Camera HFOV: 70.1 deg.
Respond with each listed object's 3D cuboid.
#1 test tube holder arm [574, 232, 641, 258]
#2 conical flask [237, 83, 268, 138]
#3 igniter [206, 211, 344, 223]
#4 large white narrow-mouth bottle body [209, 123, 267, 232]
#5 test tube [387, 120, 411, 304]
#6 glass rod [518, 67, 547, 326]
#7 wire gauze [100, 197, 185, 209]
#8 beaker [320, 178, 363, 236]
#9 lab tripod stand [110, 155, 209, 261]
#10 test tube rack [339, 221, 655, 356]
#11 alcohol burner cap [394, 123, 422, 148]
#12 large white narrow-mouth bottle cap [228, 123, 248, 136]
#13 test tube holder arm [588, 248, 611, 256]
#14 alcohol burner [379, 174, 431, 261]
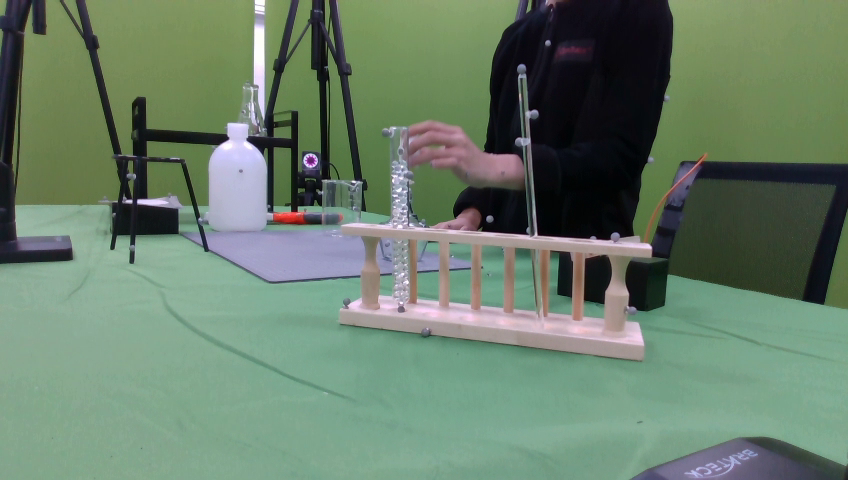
[{"bbox_3d":[0.202,0.003,0.651,0.013,0.015,0.179,-4,2,36],"label":"test tube holder arm"},{"bbox_3d":[-0.402,-0.299,1.406,0.075,0.122,0.075,2,7,0],"label":"conical flask"},{"bbox_3d":[-0.302,-0.048,1.250,0.278,0.025,0.057,-2,-2,-26],"label":"igniter"},{"bbox_3d":[-0.340,-0.115,1.109,0.102,0.194,0.102,2,8,0],"label":"large white narrow-mouth bottle body"},{"bbox_3d":[-0.019,-0.021,0.488,0.017,0.150,0.017,-1,13,1],"label":"test tube"},{"bbox_3d":[0.084,-0.029,0.459,0.008,0.199,0.008,-6,11,2],"label":"glass rod"},{"bbox_3d":[-0.469,-0.062,1.008,0.126,0.011,0.121,-2,8,-25],"label":"wire gauze"},{"bbox_3d":[-0.145,-0.059,1.079,0.074,0.100,0.083,-4,10,-36],"label":"beaker"},{"bbox_3d":[-0.361,-0.046,0.806,0.148,0.131,0.148,2,5,0],"label":"lab tripod stand"},{"bbox_3d":[0.056,0.032,0.495,0.242,0.085,0.067,4,7,15],"label":"test tube rack"},{"bbox_3d":[-0.018,-0.138,0.805,0.034,0.034,0.048,4,7,11],"label":"alcohol burner cap"},{"bbox_3d":[-0.338,-0.200,1.097,0.038,0.024,0.037,2,8,0],"label":"large white narrow-mouth bottle cap"},{"bbox_3d":[0.180,0.006,0.611,0.010,0.015,0.088,-4,2,36],"label":"test tube holder arm"},{"bbox_3d":[-0.027,-0.031,0.838,0.078,0.119,0.078,0,6,0],"label":"alcohol burner"}]
